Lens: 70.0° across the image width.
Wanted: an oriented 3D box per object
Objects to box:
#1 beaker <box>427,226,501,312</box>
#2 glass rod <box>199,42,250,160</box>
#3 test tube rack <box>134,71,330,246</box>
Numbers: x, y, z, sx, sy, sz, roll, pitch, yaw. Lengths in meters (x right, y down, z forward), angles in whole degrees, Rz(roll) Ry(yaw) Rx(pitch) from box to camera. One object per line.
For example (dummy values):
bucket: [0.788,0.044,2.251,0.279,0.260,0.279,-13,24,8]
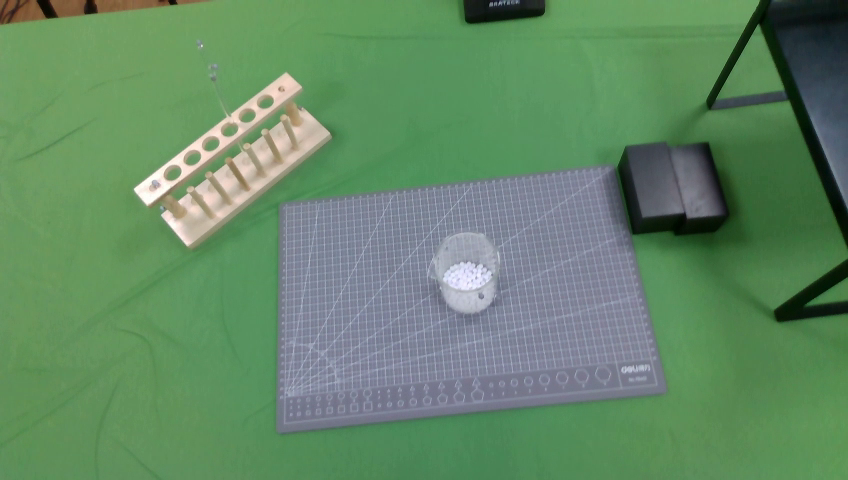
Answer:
beaker: [0.047,0.039,0.706,0.084,0.101,0.073,-17,67,-2]
glass rod: [-0.244,-0.165,0.752,0.008,0.201,0.008,0,59,1]
test tube rack: [-0.245,-0.107,0.799,0.242,0.086,0.066,-42,70,-12]
